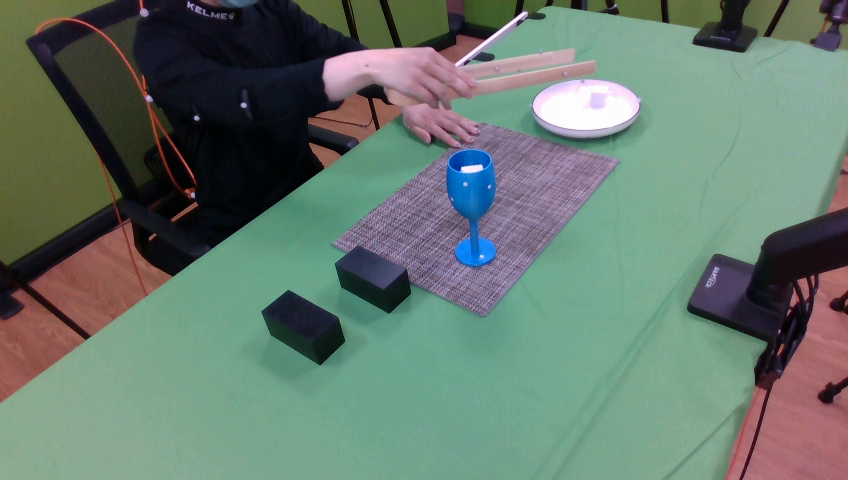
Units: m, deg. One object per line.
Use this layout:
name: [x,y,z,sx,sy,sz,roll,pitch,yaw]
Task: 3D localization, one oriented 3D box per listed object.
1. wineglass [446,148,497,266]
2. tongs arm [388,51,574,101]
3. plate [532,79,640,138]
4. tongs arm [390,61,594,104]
wineglass: [0.072,-0.045,0.889,0.074,0.173,0.073,-4,41,4]
tongs arm: [0.114,-0.296,1.075,0.387,0.026,0.050,-13,39,-18]
plate: [0.322,-0.259,1.212,0.209,0.038,0.208,-4,40,4]
tongs arm: [0.129,-0.275,1.047,0.389,0.028,0.028,-13,43,-18]
